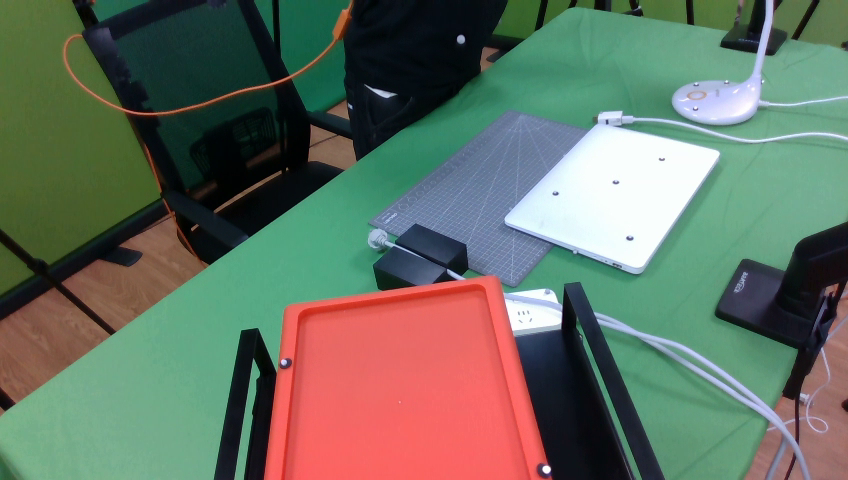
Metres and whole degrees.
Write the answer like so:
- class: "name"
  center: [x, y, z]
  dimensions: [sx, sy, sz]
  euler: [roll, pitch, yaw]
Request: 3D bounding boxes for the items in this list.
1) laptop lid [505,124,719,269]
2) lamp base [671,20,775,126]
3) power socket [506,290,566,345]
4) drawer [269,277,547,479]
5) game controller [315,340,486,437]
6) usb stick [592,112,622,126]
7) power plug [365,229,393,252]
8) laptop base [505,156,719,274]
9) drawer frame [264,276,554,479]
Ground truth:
- class: "laptop lid"
  center: [0.323, -0.093, 1.021]
  dimensions: [0.240, 0.013, 0.358]
  euler: [23, 49, 32]
- class: "lamp base"
  center: [0.581, -0.332, 1.153]
  dimensions: [0.179, 0.181, 0.160]
  euler: [2, 41, 7]
- class: "power socket"
  center: [0.081, 0.112, 0.822]
  dimensions: [0.227, 0.033, 0.072]
  euler: [-7, 40, 0]
- class: "drawer"
  center: [-0.018, 0.137, 0.493]
  dimensions: [0.195, 0.073, 0.210]
  euler: [-7, 41, -1]
- class: "game controller"
  center: [-0.021, 0.120, 0.533]
  dimensions: [0.155, 0.052, 0.096]
  euler: [-3, 39, 1]
- class: "usb stick"
  center: [0.361, -0.239, 1.196]
  dimensions: [0.059, 0.021, 0.027]
  euler: [4, 42, 27]
- class: "power plug"
  center: [-0.068, 0.010, 0.954]
  dimensions: [0.035, 0.053, 0.072]
  euler: [-38, 52, 2]
- class: "laptop base"
  center: [0.326, -0.083, 1.028]
  dimensions: [0.233, 0.023, 0.355]
  euler: [21, 48, 32]
- class: "drawer frame"
  center: [-0.016, 0.137, 0.490]
  dimensions: [0.202, 0.083, 0.212]
  euler: [-8, 41, -2]
